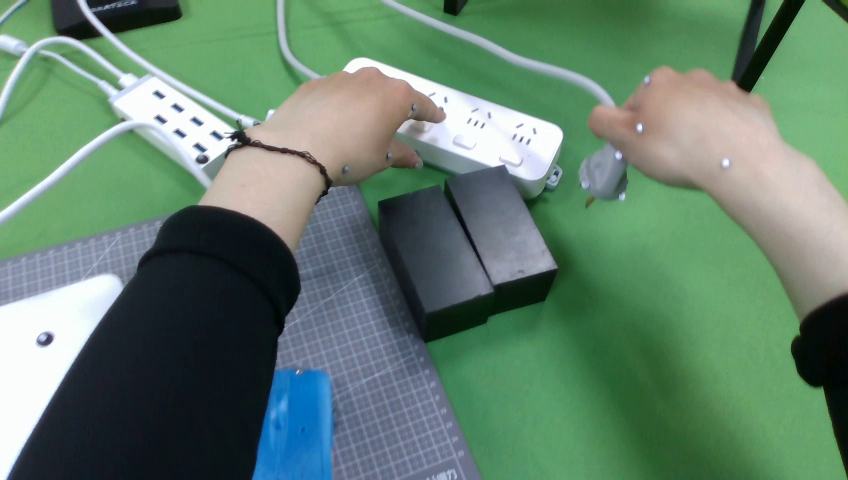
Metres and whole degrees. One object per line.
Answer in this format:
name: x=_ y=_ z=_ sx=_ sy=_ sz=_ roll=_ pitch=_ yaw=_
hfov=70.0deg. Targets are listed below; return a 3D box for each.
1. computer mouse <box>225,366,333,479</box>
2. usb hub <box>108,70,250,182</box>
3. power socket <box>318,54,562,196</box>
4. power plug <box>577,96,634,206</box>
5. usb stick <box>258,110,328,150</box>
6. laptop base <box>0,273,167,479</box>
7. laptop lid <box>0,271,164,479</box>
computer mouse: x=-0.088 y=0.131 z=0.374 sx=0.063 sy=0.041 sz=0.116 roll=-7 pitch=54 yaw=-5
usb hub: x=-0.214 y=-0.101 z=0.528 sx=0.124 sy=0.025 sz=0.049 roll=34 pitch=62 yaw=18
power socket: x=0.015 y=-0.104 z=0.537 sx=0.226 sy=0.033 sz=0.072 roll=23 pitch=58 yaw=12
power plug: x=0.134 y=-0.060 z=0.436 sx=0.035 sy=0.053 sz=0.072 roll=28 pitch=56 yaw=2
usb stick: x=-0.111 y=-0.094 z=0.525 sx=0.059 sy=0.021 sz=0.027 roll=14 pitch=98 yaw=-11
laptop base: x=-0.335 y=0.172 z=0.351 sx=0.355 sy=0.023 sz=0.233 roll=-20 pitch=64 yaw=-14
laptop lid: x=-0.334 y=0.167 z=0.339 sx=0.357 sy=0.013 sz=0.239 roll=-18 pitch=62 yaw=-13
